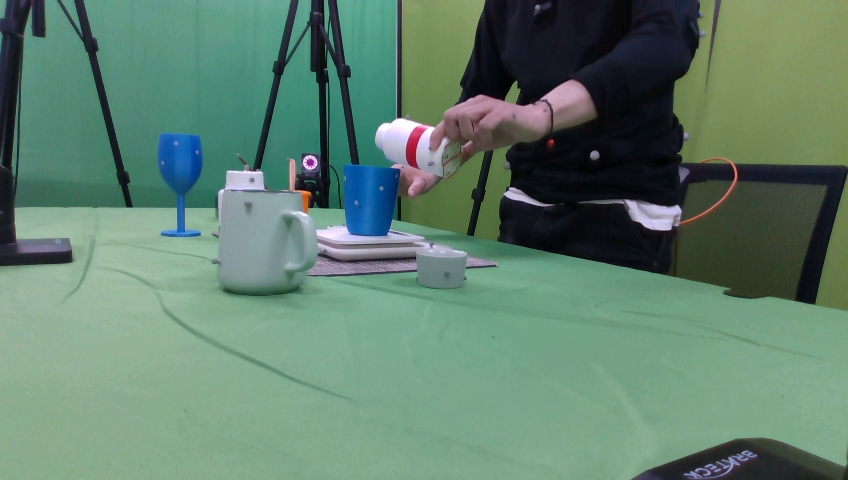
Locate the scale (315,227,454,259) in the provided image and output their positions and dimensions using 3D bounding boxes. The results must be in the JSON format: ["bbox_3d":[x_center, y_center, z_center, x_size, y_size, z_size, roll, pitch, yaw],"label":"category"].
[{"bbox_3d":[-0.066,0.001,0.906,0.202,0.031,0.148,-2,8,-31],"label":"scale"}]

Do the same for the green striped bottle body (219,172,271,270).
[{"bbox_3d":[-0.223,-0.025,0.755,0.063,0.119,0.063,2,7,0],"label":"green striped bottle body"}]

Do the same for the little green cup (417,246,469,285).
[{"bbox_3d":[0.021,0.029,0.701,0.061,0.038,0.061,1,6,0],"label":"little green cup"}]

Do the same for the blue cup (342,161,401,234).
[{"bbox_3d":[-0.079,-0.061,0.882,0.093,0.100,0.092,4,6,0],"label":"blue cup"}]

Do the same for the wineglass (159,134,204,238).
[{"bbox_3d":[-0.415,-0.093,1.040,0.074,0.172,0.073,2,7,0],"label":"wineglass"}]

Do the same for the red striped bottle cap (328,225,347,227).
[{"bbox_3d":[-0.152,-0.017,1.094,0.044,0.017,0.044,1,7,0],"label":"red striped bottle cap"}]

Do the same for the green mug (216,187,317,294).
[{"bbox_3d":[-0.157,0.000,0.629,0.124,0.105,0.093,7,9,37],"label":"green mug"}]

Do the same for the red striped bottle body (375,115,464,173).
[{"bbox_3d":[-0.010,-0.136,0.839,0.119,0.063,0.063,19,15,29],"label":"red striped bottle body"}]

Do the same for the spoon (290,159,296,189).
[{"bbox_3d":[-0.273,-0.102,1.252,0.042,0.193,0.021,7,-39,-17],"label":"spoon"}]

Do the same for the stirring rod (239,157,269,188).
[{"bbox_3d":[-0.309,-0.098,1.209,0.006,0.177,0.014,-39,29,-4],"label":"stirring rod"}]

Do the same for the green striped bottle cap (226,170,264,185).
[{"bbox_3d":[-0.222,-0.077,0.748,0.044,0.020,0.044,1,7,0],"label":"green striped bottle cap"}]
